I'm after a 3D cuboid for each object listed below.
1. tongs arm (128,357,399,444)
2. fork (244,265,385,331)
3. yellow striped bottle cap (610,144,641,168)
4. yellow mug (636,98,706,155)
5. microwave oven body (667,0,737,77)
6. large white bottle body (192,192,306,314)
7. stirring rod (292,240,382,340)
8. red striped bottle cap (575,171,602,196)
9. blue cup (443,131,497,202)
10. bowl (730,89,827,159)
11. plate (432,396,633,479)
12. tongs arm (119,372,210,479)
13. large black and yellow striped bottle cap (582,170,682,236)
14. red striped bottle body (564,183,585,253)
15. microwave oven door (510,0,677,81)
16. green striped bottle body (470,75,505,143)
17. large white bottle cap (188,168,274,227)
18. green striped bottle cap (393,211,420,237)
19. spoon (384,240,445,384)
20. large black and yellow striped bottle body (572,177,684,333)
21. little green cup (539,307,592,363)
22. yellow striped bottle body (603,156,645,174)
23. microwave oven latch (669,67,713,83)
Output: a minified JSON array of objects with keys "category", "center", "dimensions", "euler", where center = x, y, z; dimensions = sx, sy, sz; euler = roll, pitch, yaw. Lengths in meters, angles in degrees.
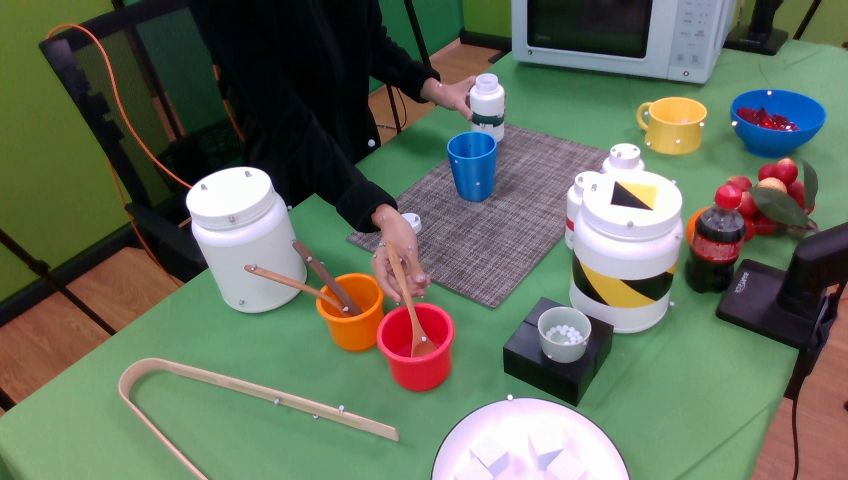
[{"category":"tongs arm","center":[-0.213,0.205,0.755],"dimensions":[0.382,0.026,0.051],"euler":[12,46,23]},{"category":"fork","center":[-0.142,0.078,0.806],"dimensions":[0.209,0.018,0.028],"euler":[30,32,-23]},{"category":"yellow striped bottle cap","center":[0.307,-0.128,0.923],"dimensions":[0.044,0.019,0.044],"euler":[-6,40,5]},{"category":"yellow mug","center":[0.453,-0.217,1.128],"dimensions":[0.100,0.064,0.129],"euler":[-34,46,-27]},{"category":"microwave oven body","center":[0.462,-0.552,1.368],"dimensions":[0.439,0.261,0.326],"euler":[14,45,26]},{"category":"large white bottle body","center":[-0.257,0.003,0.885],"dimensions":[0.130,0.185,0.130],"euler":[-4,40,4]},{"category":"stirring rod","center":[-0.119,0.068,0.826],"dimensions":[0.176,0.006,0.014],"euler":[49,58,-4]},{"category":"red striped bottle cap","center":[0.242,-0.081,0.876],"dimensions":[0.044,0.018,0.044],"euler":[-5,44,5]},{"category":"blue cup","center":[0.086,-0.122,1.040],"dimensions":[0.092,0.100,0.092],"euler":[-5,42,5]},{"category":"bowl","center":[0.615,-0.197,1.069],"dimensions":[0.151,0.077,0.150],"euler":[-5,40,5]},{"category":"plate","center":[0.112,0.261,0.634],"dimensions":[0.209,0.038,0.208],"euler":[-5,40,4]},{"category":"tongs arm","center":[-0.258,0.257,0.700],"dimensions":[0.384,0.028,0.028],"euler":[24,55,34]},{"category":"large black and yellow striped bottle cap","center":[0.252,-0.048,0.735],"dimensions":[0.115,0.019,0.114],"euler":[-3,40,3]},{"category":"red striped bottle body","center":[0.246,-0.041,0.910],"dimensions":[0.063,0.120,0.062],"euler":[-2,38,2]},{"category":"microwave oven door","center":[0.354,-0.478,1.290],"dimensions":[0.353,0.245,0.039],"euler":[15,45,25]},{"category":"green striped bottle body","center":[0.116,-0.239,1.106],"dimensions":[0.063,0.120,0.063],"euler":[-4,44,4]},{"category":"large white bottle cap","center":[-0.264,-0.061,0.831],"dimensions":[0.115,0.018,0.114],"euler":[-4,40,4]},{"category":"green striped bottle cap","center":[-0.029,-0.027,1.009],"dimensions":[0.044,0.020,0.044],"euler":[1,48,-1]},{"category":"spoon","center":[-0.016,0.090,0.776],"dimensions":[0.042,0.021,0.193],"euler":[-17,85,-11]},{"category":"large black and yellow striped bottle body","center":[0.262,0.017,0.788],"dimensions":[0.131,0.185,0.130],"euler":[-5,40,4]},{"category":"little green cup","center":[0.168,0.115,0.721],"dimensions":[0.061,0.039,0.061],"euler":[-4,42,4]},{"category":"yellow striped bottle body","center":[0.313,-0.089,0.955],"dimensions":[0.063,0.121,0.062],"euler":[-5,39,4]},{"category":"microwave oven latch","center":[0.556,-0.349,1.261],"dimensions":[0.078,0.029,0.030],"euler":[16,46,27]}]
